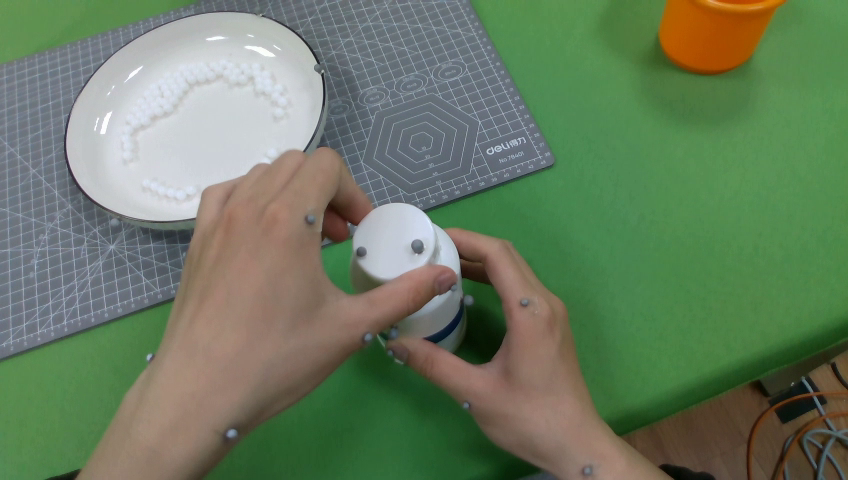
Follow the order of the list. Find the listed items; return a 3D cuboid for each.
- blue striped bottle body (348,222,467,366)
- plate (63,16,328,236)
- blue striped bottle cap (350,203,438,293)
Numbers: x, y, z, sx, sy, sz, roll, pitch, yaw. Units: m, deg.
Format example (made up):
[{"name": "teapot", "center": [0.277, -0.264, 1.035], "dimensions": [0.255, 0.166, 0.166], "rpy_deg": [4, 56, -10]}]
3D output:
[{"name": "blue striped bottle body", "center": [-0.008, 0.030, 0.363], "dimensions": [0.063, 0.122, 0.062], "rpy_deg": [-3, 62, 6]}, {"name": "plate", "center": [-0.176, -0.091, 0.486], "dimensions": [0.207, 0.039, 0.206], "rpy_deg": [-2, 63, 5]}, {"name": "blue striped bottle cap", "center": [-0.015, 0.004, 0.311], "dimensions": [0.044, 0.021, 0.044], "rpy_deg": [-2, 66, 5]}]
